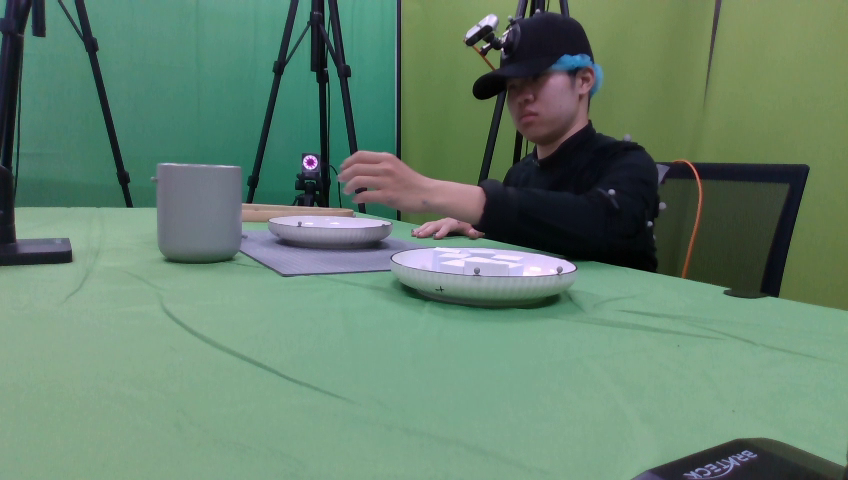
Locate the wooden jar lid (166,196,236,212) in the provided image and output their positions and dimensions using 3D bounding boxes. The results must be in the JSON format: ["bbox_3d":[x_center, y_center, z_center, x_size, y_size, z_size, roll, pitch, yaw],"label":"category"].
[{"bbox_3d":[-0.369,-0.059,1.001,0.108,0.020,0.108,3,6,0],"label":"wooden jar lid"}]

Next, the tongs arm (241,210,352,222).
[{"bbox_3d":[-0.337,-0.053,1.329,0.389,0.028,0.028,-1,6,-27],"label":"tongs arm"}]

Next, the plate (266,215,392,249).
[{"bbox_3d":[-0.159,-0.015,1.019,0.209,0.038,0.209,3,7,0],"label":"plate"}]

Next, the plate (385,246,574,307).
[{"bbox_3d":[0.060,0.041,0.678,0.208,0.039,0.207,3,7,0],"label":"plate"}]

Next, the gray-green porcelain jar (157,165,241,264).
[{"bbox_3d":[-0.300,-0.036,0.811,0.106,0.126,0.106,2,8,0],"label":"gray-green porcelain jar"}]

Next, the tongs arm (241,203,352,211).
[{"bbox_3d":[-0.362,-0.068,1.406,0.386,0.026,0.050,2,9,-14],"label":"tongs arm"}]
